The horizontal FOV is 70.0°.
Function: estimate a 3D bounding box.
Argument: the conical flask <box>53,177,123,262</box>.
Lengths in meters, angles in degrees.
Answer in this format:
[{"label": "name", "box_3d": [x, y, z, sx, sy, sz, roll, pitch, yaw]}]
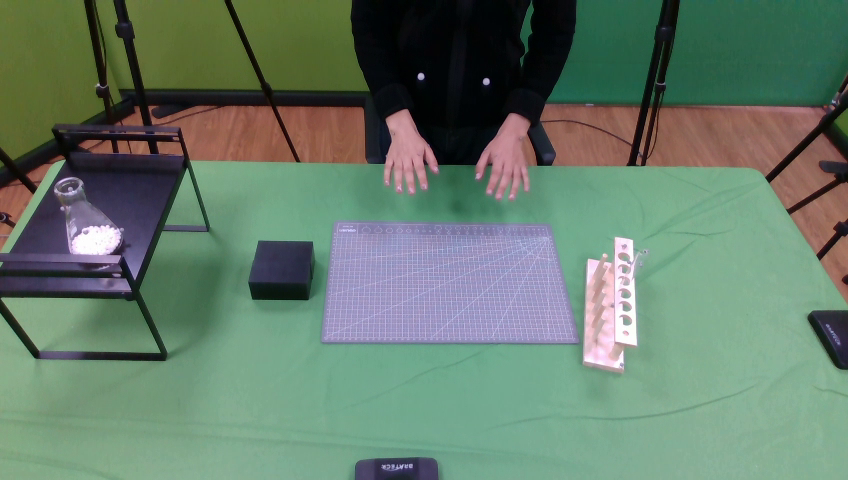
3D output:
[{"label": "conical flask", "box_3d": [-0.490, -0.033, 0.872, 0.075, 0.122, 0.075, 1, 46, -1]}]

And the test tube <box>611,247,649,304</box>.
[{"label": "test tube", "box_3d": [0.352, 0.065, 1.043, 0.017, 0.151, 0.017, 3, 49, -4]}]

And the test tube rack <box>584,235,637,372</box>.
[{"label": "test tube rack", "box_3d": [0.329, 0.103, 1.073, 0.067, 0.085, 0.241, 11, 47, 7]}]
